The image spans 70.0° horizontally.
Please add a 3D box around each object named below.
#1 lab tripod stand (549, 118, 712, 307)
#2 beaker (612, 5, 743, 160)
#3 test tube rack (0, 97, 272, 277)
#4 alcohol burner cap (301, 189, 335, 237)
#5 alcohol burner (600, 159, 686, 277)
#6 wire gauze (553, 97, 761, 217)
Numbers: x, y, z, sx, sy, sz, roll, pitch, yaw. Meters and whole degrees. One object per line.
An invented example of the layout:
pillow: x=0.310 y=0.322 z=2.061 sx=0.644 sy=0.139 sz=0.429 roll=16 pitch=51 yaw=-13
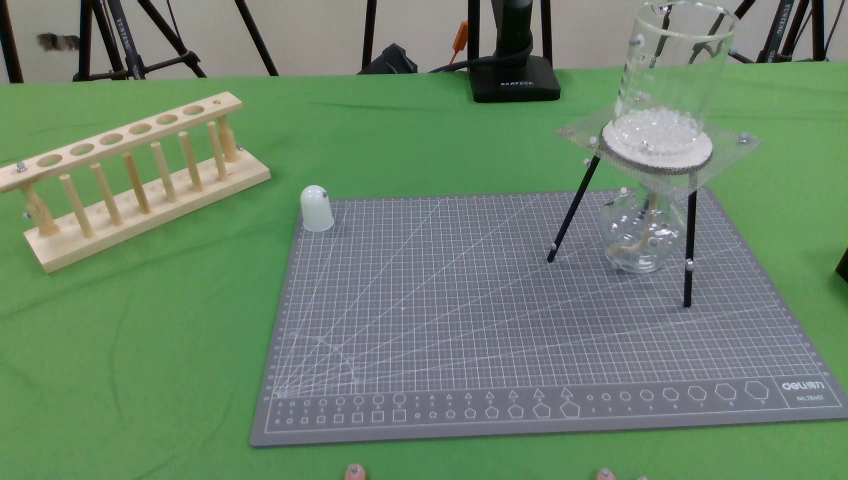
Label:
lab tripod stand: x=0.194 y=-0.028 z=0.538 sx=0.148 sy=0.132 sz=0.147 roll=1 pitch=40 yaw=0
beaker: x=0.189 y=-0.122 z=0.471 sx=0.074 sy=0.101 sz=0.083 roll=-6 pitch=41 yaw=-7
test tube rack: x=-0.288 y=-0.062 z=0.631 sx=0.242 sy=0.086 sz=0.066 roll=-29 pitch=47 yaw=-30
alcohol burner cap: x=-0.109 y=-0.030 z=0.618 sx=0.034 sy=0.048 sz=0.033 roll=0 pitch=40 yaw=0
alcohol burner: x=0.202 y=-0.024 z=0.549 sx=0.078 sy=0.120 sz=0.077 roll=0 pitch=42 yaw=0
wire gauze: x=0.189 y=-0.078 z=0.495 sx=0.121 sy=0.011 sz=0.124 roll=-28 pitch=51 yaw=-27
